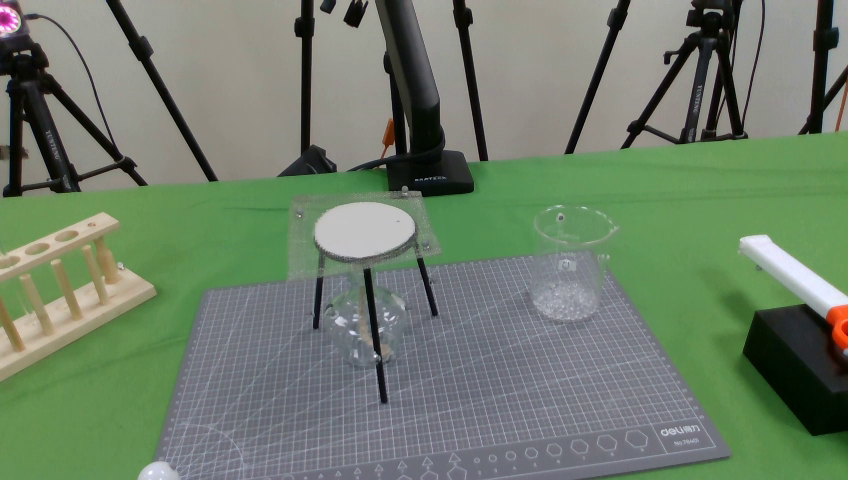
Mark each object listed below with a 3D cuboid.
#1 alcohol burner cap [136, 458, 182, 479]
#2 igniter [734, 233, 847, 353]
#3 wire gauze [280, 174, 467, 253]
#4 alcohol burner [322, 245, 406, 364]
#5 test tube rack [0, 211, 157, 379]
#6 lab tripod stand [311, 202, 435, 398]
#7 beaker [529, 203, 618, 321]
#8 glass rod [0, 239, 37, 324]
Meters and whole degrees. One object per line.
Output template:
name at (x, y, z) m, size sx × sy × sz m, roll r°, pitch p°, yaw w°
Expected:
alcohol burner cap at (-0.190, 0.178, 0.436) m, size 0.034 × 0.048 × 0.033 m, roll 0°, pitch 33°, yaw 1°
igniter at (0.356, 0.066, 0.509) m, size 0.057 × 0.025 × 0.273 m, roll -7°, pitch 30°, yaw -6°
wire gauze at (-0.045, -0.023, 0.500) m, size 0.125 × 0.011 × 0.120 m, roll -11°, pitch 30°, yaw -27°
alcohol burner at (-0.056, 0.055, 0.553) m, size 0.078 × 0.120 × 0.077 m, roll 0°, pitch 33°, yaw 0°
test tube rack at (-0.397, 0.067, 0.586) m, size 0.066 × 0.086 × 0.242 m, roll 22°, pitch 40°, yaw 32°
lab tripod stand at (-0.047, 0.045, 0.549) m, size 0.148 × 0.132 × 0.147 m, roll 0°, pitch 34°, yaw 0°
beaker at (0.144, 0.023, 0.602) m, size 0.084 × 0.101 × 0.073 m, roll -2°, pitch 33°, yaw 1°
glass rod at (-0.395, 0.004, 0.560) m, size 0.008 × 0.201 × 0.008 m, roll 2°, pitch 35°, yaw -1°
